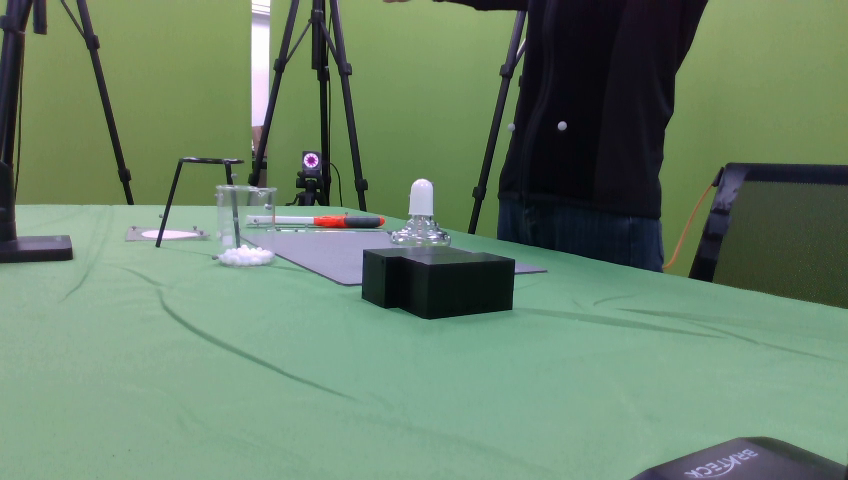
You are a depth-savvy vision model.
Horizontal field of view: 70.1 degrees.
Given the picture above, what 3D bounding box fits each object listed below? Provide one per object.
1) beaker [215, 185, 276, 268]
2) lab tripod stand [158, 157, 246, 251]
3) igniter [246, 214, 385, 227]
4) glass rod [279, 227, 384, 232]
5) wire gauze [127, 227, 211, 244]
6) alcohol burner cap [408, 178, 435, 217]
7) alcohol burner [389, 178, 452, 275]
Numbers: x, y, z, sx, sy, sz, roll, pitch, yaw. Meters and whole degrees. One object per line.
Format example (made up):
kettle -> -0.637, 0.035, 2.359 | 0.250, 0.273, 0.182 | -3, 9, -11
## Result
beaker -> -0.226, -0.019, 0.773 | 0.074, 0.100, 0.084 | 5, 7, 14
lab tripod stand -> -0.314, -0.055, 0.891 | 0.148, 0.131, 0.148 | 2, 9, 0
igniter -> -0.214, -0.040, 1.216 | 0.278, 0.025, 0.057 | 0, -2, -23
glass rod -> -0.175, -0.021, 1.162 | 0.200, 0.008, 0.008 | 1, 7, -16
wire gauze -> -0.420, -0.010, 0.999 | 0.122, 0.011, 0.124 | -2, 10, -24
alcohol burner cap -> -0.002, -0.053, 0.746 | 0.034, 0.048, 0.034 | 3, 3, 0
alcohol burner -> -0.004, -0.017, 0.749 | 0.078, 0.119, 0.078 | 1, 9, 0
